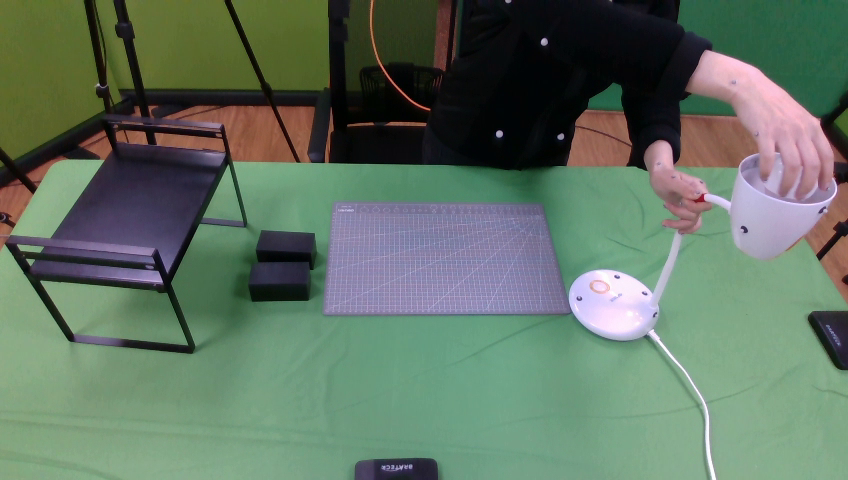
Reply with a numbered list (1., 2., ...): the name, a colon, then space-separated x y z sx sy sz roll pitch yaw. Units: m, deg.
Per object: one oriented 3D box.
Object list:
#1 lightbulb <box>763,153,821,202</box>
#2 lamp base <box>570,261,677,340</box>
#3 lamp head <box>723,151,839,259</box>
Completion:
1. lightbulb: 0.446 -0.057 0.750 0.059 0.108 0.059 2 37 -1
2. lamp base: 0.359 0.068 1.046 0.178 0.181 0.160 37 55 25
3. lamp head: 0.439 -0.039 0.773 0.112 0.123 0.111 1 46 0
